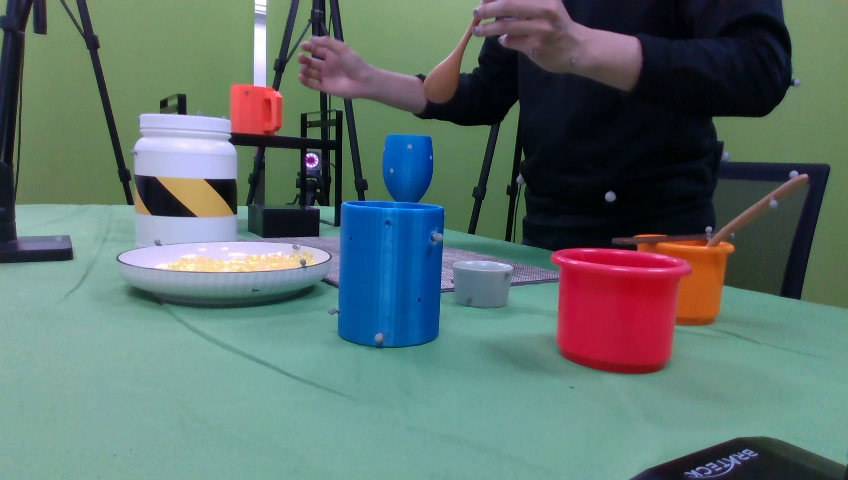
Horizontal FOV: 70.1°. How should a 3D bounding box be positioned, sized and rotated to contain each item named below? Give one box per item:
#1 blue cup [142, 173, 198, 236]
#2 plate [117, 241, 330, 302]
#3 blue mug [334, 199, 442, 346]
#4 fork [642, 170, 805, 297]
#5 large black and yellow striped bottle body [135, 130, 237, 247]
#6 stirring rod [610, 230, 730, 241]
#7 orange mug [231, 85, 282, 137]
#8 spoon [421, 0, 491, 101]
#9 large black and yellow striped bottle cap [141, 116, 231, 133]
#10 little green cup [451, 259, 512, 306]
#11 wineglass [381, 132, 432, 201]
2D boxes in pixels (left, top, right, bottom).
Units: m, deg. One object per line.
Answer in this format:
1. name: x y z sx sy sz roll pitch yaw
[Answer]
1. blue cup: -0.425 -0.060 1.014 0.093 0.100 0.092 4 9 0
2. plate: -0.203 0.031 0.630 0.209 0.038 0.209 3 7 0
3. blue mug: -0.034 0.020 0.498 0.083 0.106 0.116 0 7 -20
4. fork: 0.261 0.004 0.545 0.028 0.018 0.207 5 -37 -16
5. large black and yellow striped bottle body: -0.327 -0.074 0.838 0.131 0.184 0.130 2 7 0
6. stirring rod: 0.241 -0.005 0.582 0.177 0.006 0.014 -3 9 -34
7. orange mug: -0.335 -0.261 1.225 0.125 0.100 0.084 2 6 35
8. spoon: 0.051 -0.250 0.726 0.042 0.193 0.021 27 28 -9
9. large black and yellow striped bottle cap: -0.324 -0.157 0.826 0.115 0.019 0.115 1 7 0
10. little green cup: 0.057 0.043 0.612 0.061 0.038 0.061 3 8 0
11. wineglass: -0.026 -0.062 0.841 0.074 0.172 0.073 2 7 0
